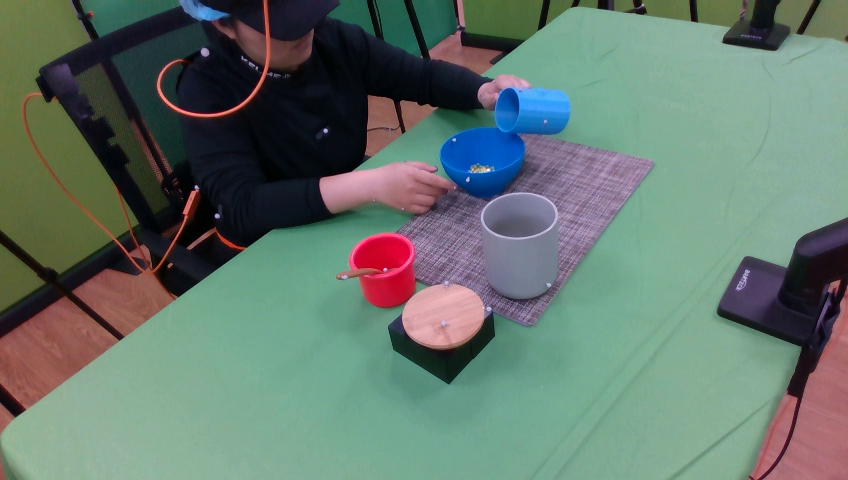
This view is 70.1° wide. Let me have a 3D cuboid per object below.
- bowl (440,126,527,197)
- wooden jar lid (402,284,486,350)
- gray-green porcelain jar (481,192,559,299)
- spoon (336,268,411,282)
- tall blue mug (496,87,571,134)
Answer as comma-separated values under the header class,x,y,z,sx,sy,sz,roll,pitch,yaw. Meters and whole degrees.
class,x,y,z,sx,sy,sz,roll,pitch,yaw
bowl,0.107,-0.129,1.070,0.151,0.077,0.150,-5,40,5
wooden jar lid,0.026,0.101,0.786,0.108,0.021,0.108,-5,39,4
gray-green porcelain jar,0.138,0.012,0.858,0.106,0.127,0.105,-6,40,5
spoon,-0.071,0.047,0.850,0.041,0.195,0.021,18,93,24
tall blue mug,0.184,-0.229,1.070,0.109,0.078,0.106,-4,14,-27
